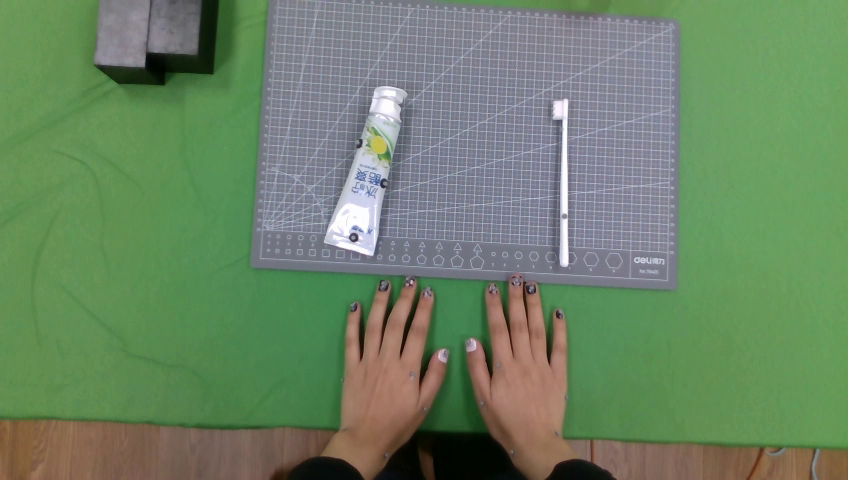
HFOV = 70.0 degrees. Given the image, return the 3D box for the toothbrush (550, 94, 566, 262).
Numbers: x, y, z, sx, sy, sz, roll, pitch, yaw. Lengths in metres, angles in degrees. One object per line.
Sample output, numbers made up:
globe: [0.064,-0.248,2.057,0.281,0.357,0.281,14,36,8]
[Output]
toothbrush: [0.144,-0.067,0.645,0.016,0.014,0.181,0,85,1]

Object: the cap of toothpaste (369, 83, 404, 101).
cap of toothpaste: [-0.039,-0.154,0.632,0.037,0.037,0.011,4,82,-2]

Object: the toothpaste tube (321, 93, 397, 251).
toothpaste tube: [-0.062,-0.075,0.630,0.055,0.034,0.165,14,89,6]
